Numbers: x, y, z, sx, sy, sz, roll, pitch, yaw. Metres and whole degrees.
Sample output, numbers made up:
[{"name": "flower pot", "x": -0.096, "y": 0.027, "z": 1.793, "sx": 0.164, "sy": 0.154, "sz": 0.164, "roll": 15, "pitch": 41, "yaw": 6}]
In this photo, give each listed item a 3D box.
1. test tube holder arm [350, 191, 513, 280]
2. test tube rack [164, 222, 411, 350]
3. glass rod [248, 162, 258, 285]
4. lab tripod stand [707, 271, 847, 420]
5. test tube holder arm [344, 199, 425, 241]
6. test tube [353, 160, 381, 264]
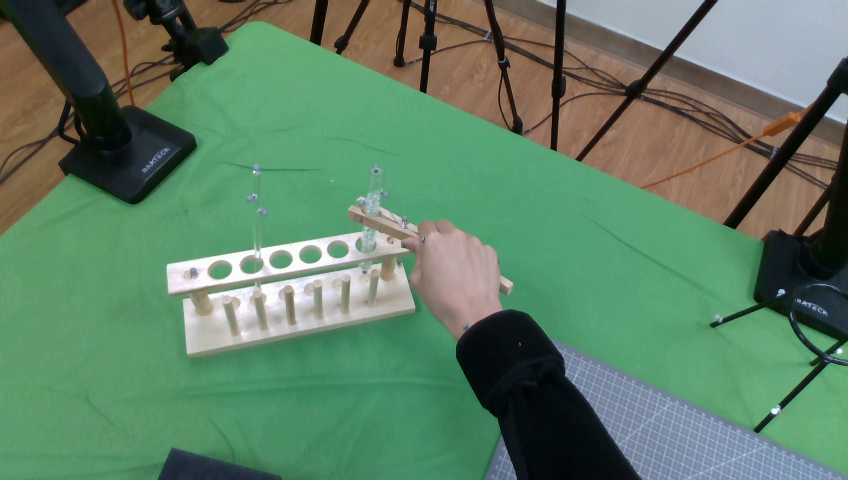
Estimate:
[{"name": "test tube holder arm", "x": 0.004, "y": -0.006, "z": 0.584, "sx": 0.177, "sy": 0.015, "sz": 0.013, "roll": 25, "pitch": 61, "yaw": 16}, {"name": "test tube rack", "x": -0.136, "y": 0.045, "z": 0.642, "sx": 0.243, "sy": 0.086, "sz": 0.066, "roll": -10, "pitch": 60, "yaw": -14}, {"name": "glass rod", "x": -0.166, "y": -0.001, "z": 0.588, "sx": 0.008, "sy": 0.201, "sz": 0.008, "roll": 7, "pitch": 49, "yaw": -8}, {"name": "lab tripod stand", "x": 0.390, "y": 0.107, "z": 0.646, "sx": 0.148, "sy": 0.132, "sz": 0.147, "roll": 4, "pitch": 59, "yaw": -6}, {"name": "test tube holder arm", "x": -0.038, "y": -0.019, "z": 0.592, "sx": 0.087, "sy": 0.015, "sz": 0.010, "roll": 20, "pitch": 59, "yaw": 13}, {"name": "test tube", "x": -0.059, "y": -0.023, "z": 0.610, "sx": 0.017, "sy": 0.151, "sz": 0.017, "roll": 6, "pitch": 52, "yaw": -7}]
